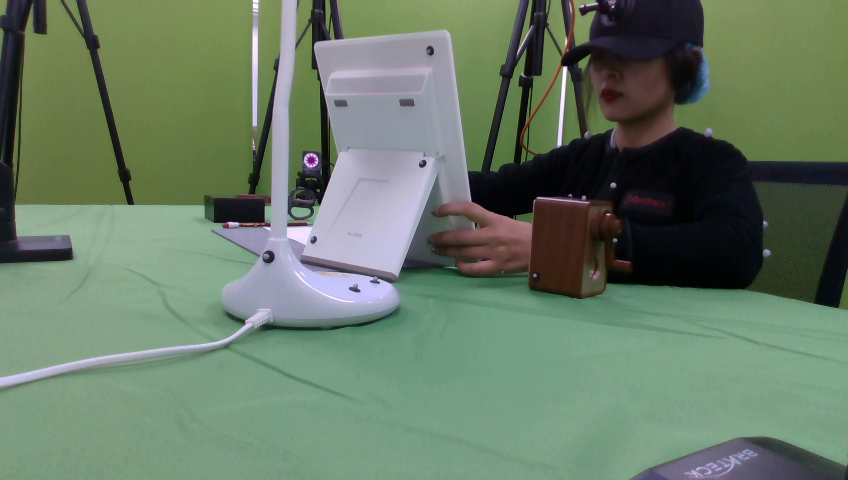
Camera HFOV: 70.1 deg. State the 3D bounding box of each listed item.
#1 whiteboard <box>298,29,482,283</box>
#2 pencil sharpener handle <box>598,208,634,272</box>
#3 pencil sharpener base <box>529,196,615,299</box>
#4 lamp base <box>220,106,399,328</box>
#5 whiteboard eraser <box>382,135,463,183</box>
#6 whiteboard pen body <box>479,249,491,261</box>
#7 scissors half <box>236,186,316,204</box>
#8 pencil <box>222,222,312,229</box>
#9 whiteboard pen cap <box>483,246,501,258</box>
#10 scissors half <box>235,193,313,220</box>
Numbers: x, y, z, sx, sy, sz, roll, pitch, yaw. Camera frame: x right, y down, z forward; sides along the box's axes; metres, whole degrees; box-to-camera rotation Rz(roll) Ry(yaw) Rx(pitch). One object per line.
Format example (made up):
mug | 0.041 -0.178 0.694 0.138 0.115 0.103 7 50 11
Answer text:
whiteboard | -0.074 -0.082 0.741 0.216 0.305 0.144 9 30 37
pencil sharpener handle | 0.208 0.000 0.644 0.030 0.068 0.036 10 23 42
pencil sharpener base | 0.168 0.007 0.677 0.076 0.107 0.062 10 10 42
lamp base | -0.101 -0.023 0.531 0.160 0.180 0.179 4 10 10
whiteboard eraser | -0.006 -0.104 0.794 0.112 0.055 0.042 2 29 42
whiteboard pen body | 0.032 0.016 0.898 0.140 0.017 0.017 6 8 27
scissors half | -0.320 -0.097 1.316 0.176 0.040 0.013 -3 11 -29
pencil | -0.302 -0.030 1.189 0.195 0.012 0.012 -2 9 -42
whiteboard pen cap | 0.104 0.017 0.936 0.018 0.018 0.033 -1 4 -22
scissors half | -0.324 -0.077 1.319 0.176 0.040 0.012 17 6 -31
